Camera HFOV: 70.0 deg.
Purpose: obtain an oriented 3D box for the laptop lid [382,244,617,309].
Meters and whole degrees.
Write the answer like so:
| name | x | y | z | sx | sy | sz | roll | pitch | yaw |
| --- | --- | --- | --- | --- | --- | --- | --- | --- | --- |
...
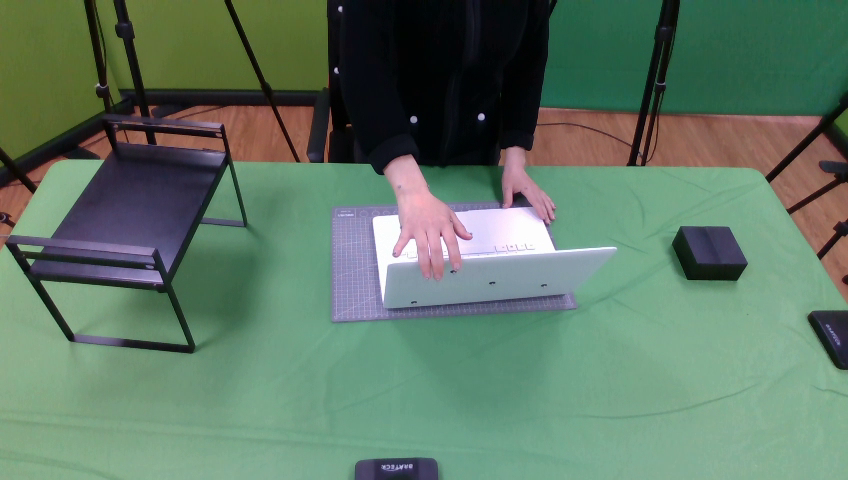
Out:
| name | x | y | z | sx | sy | sz | roll | pitch | yaw |
| --- | --- | --- | --- | --- | --- | --- | --- | --- | --- |
| laptop lid | 0.110 | 0.065 | 0.991 | 0.357 | 0.242 | 0.013 | -3 | 67 | -9 |

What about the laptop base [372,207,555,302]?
| name | x | y | z | sx | sy | sz | roll | pitch | yaw |
| --- | --- | --- | --- | --- | --- | --- | --- | --- | --- |
| laptop base | 0.083 | 0.027 | 1.178 | 0.355 | 0.023 | 0.234 | -4 | 43 | -8 |
